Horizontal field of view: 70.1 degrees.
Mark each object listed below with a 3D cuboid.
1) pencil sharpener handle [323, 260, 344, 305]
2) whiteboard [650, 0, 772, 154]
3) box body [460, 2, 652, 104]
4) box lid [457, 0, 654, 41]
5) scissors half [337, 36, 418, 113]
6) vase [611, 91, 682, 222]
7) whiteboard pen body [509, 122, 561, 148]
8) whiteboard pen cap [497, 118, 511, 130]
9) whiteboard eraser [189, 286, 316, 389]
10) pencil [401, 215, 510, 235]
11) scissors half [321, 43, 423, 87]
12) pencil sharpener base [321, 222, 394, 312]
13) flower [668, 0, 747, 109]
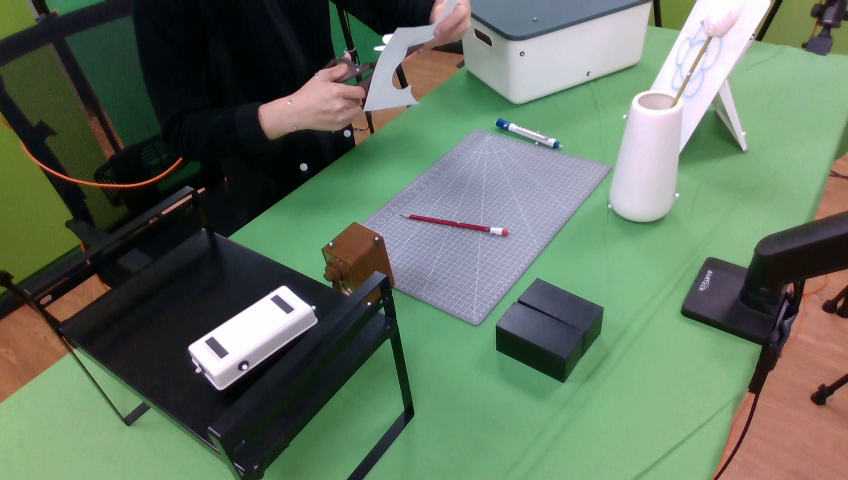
[{"bbox_3d":[-0.131,0.062,0.839,0.035,0.068,0.031,29,55,28],"label":"pencil sharpener handle"},{"bbox_3d":[0.543,-0.298,1.076,0.144,0.305,0.216,12,40,-7],"label":"whiteboard"},{"bbox_3d":[0.291,-0.465,1.371,0.365,0.161,0.252,-22,42,-16],"label":"box body"},{"bbox_3d":[0.285,-0.522,1.323,0.373,0.015,0.261,-22,43,-16],"label":"box lid"},{"bbox_3d":[-0.068,-0.246,0.901,0.174,0.040,0.013,-37,11,34],"label":"scissors half"},{"bbox_3d":[0.348,-0.125,0.935,0.098,0.201,0.097,-3,40,3],"label":"vase"},{"bbox_3d":[0.208,-0.212,1.195,0.139,0.017,0.017,30,53,33],"label":"whiteboard pen body"},{"bbox_3d":[0.165,-0.235,1.227,0.033,0.018,0.018,31,53,31],"label":"whiteboard pen cap"},{"bbox_3d":[-0.166,0.096,0.593,0.113,0.042,0.055,-36,47,-29],"label":"whiteboard eraser"},{"bbox_3d":[0.049,-0.027,1.007,0.193,0.012,0.012,10,43,21],"label":"pencil"},{"bbox_3d":[-0.080,-0.263,0.894,0.174,0.040,0.013,-9,30,24],"label":"scissors half"},{"bbox_3d":[-0.096,0.041,0.873,0.061,0.107,0.077,26,54,32],"label":"pencil sharpener base"},{"bbox_3d":[0.354,-0.187,0.879,0.038,0.362,0.044,30,48,14],"label":"flower"}]
